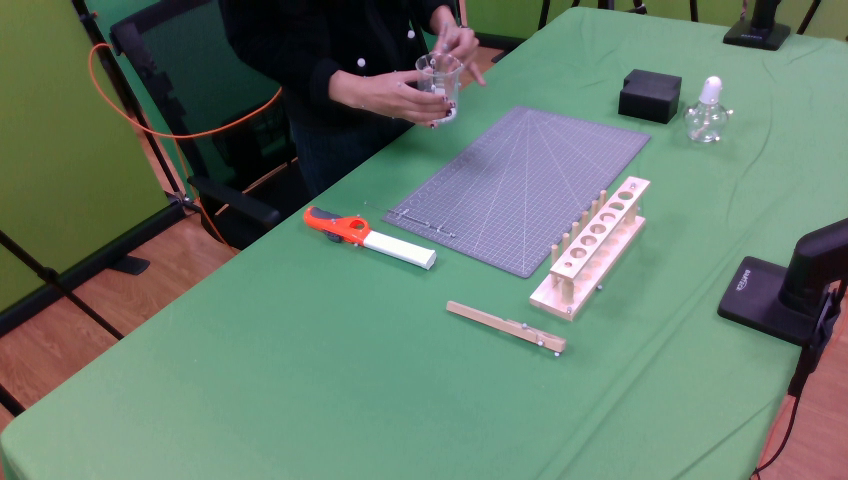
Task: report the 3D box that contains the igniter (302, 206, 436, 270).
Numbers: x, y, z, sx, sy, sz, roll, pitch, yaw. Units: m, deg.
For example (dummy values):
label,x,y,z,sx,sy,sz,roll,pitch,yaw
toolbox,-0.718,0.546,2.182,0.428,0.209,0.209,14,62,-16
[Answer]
label,x,y,z,sx,sy,sz,roll,pitch,yaw
igniter,-0.101,-0.007,1.004,0.274,0.025,0.057,20,58,29

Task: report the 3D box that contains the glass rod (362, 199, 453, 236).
label,x,y,z,sx,sy,sz,roll,pitch,yaw
glass rod,-0.031,-0.041,1.041,0.198,0.008,0.008,22,50,31

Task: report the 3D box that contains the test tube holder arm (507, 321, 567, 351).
label,x,y,z,sx,sy,sz,roll,pitch,yaw
test tube holder arm,0.148,0.128,0.808,0.087,0.015,0.010,16,11,28

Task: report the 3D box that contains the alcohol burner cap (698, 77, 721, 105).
label,x,y,z,sx,sy,sz,roll,pitch,yaw
alcohol burner cap,0.509,-0.266,1.072,0.034,0.048,0.033,-4,48,5

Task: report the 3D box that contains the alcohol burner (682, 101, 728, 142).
label,x,y,z,sx,sy,sz,roll,pitch,yaw
alcohol burner,0.513,-0.239,1.097,0.078,0.119,0.077,-4,40,4

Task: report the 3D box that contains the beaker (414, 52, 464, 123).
label,x,y,z,sx,sy,sz,roll,pitch,yaw
beaker,0.025,-0.258,1.036,0.084,0.100,0.073,-5,45,-4

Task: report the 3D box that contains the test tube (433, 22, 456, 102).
label,x,y,z,sx,sy,sz,roll,pitch,yaw
test tube,0.035,-0.318,1.091,0.017,0.150,0.017,8,40,-6

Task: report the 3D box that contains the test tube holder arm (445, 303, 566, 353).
label,x,y,z,sx,sy,sz,roll,pitch,yaw
test tube holder arm,0.107,0.117,0.824,0.177,0.015,0.013,16,11,27

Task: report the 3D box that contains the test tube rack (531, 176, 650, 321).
label,x,y,z,sx,sy,sz,roll,pitch,yaw
test tube rack,0.246,0.002,0.884,0.066,0.085,0.243,22,49,32
